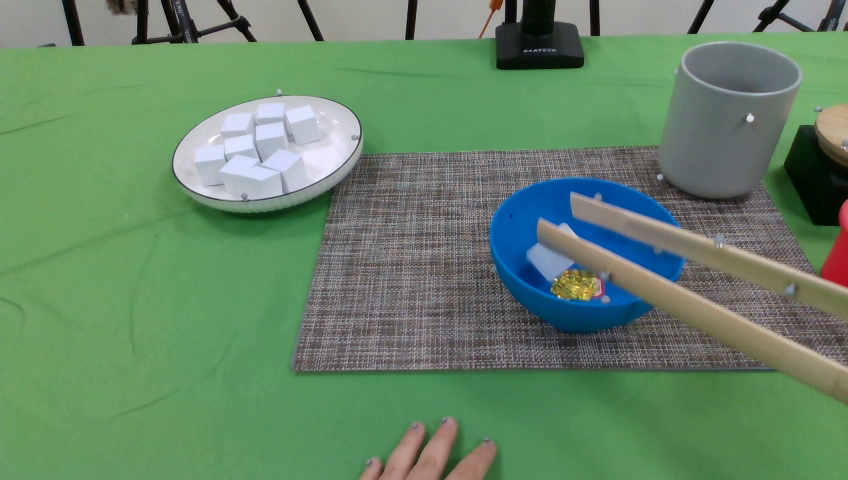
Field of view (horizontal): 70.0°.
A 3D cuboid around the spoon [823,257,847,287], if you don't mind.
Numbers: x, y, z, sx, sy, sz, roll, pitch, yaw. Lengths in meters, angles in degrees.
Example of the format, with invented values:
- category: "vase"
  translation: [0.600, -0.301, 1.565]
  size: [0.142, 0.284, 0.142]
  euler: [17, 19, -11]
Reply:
- category: "spoon"
  translation: [0.412, 0.001, 0.460]
  size: [0.022, 0.193, 0.041]
  euler: [43, 44, -18]

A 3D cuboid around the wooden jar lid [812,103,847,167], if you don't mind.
- category: "wooden jar lid"
  translation: [0.430, -0.096, 0.580]
  size: [0.108, 0.021, 0.107]
  euler: [-3, 43, 3]

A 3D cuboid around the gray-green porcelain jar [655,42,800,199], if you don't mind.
- category: "gray-green porcelain jar"
  translation: [0.290, -0.113, 0.597]
  size: [0.106, 0.128, 0.105]
  euler: [-2, 43, 2]

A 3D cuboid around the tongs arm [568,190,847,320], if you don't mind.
- category: "tongs arm"
  translation: [0.238, 0.047, 0.357]
  size: [0.381, 0.027, 0.050]
  euler: [26, 53, 37]

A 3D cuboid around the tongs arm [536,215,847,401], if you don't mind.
- category: "tongs arm"
  translation: [0.219, 0.062, 0.346]
  size: [0.028, 0.028, 0.383]
  euler: [-35, 44, -29]

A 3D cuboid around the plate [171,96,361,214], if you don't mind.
- category: "plate"
  translation: [-0.172, -0.094, 0.679]
  size: [0.209, 0.038, 0.207]
  euler: [-3, 43, 3]

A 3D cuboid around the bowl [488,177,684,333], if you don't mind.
- category: "bowl"
  translation: [0.127, 0.023, 0.499]
  size: [0.151, 0.077, 0.150]
  euler: [-2, 43, 2]
